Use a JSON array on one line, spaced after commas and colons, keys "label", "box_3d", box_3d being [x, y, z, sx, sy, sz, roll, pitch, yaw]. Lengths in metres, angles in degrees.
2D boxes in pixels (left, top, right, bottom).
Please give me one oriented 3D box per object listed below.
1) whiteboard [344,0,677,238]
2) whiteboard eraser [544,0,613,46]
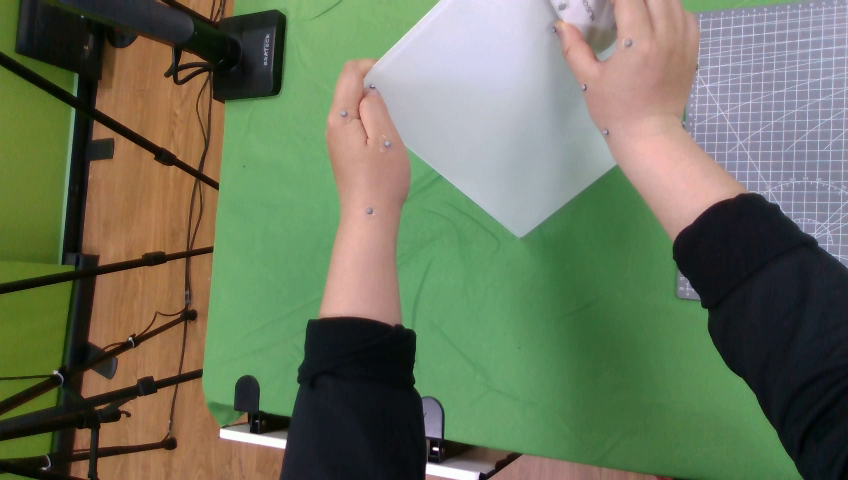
[{"label": "whiteboard", "box_3d": [0.078, -0.170, 0.591, 0.217, 0.308, 0.142, -39, 52, 16]}, {"label": "whiteboard eraser", "box_3d": [0.122, -0.190, 0.480, 0.041, 0.102, 0.018, -46, 58, 14]}]
